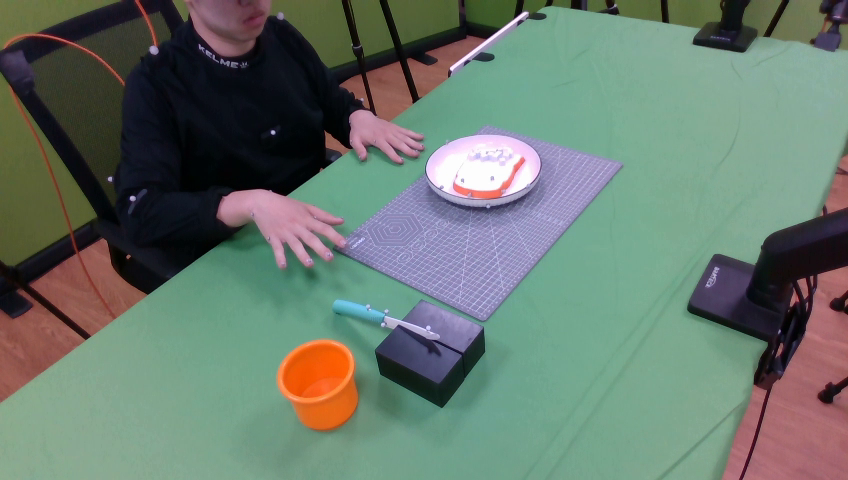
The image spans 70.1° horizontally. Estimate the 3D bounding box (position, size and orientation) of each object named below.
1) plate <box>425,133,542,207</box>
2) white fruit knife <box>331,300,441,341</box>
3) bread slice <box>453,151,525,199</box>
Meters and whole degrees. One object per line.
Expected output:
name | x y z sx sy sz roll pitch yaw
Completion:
plate | 0.106 -0.121 1.079 0.209 0.038 0.208 -4 41 4
white fruit knife | -0.056 0.107 0.807 0.205 0.027 0.016 9 42 40
bread slice | 0.112 -0.118 1.079 0.104 0.019 0.131 11 42 21
